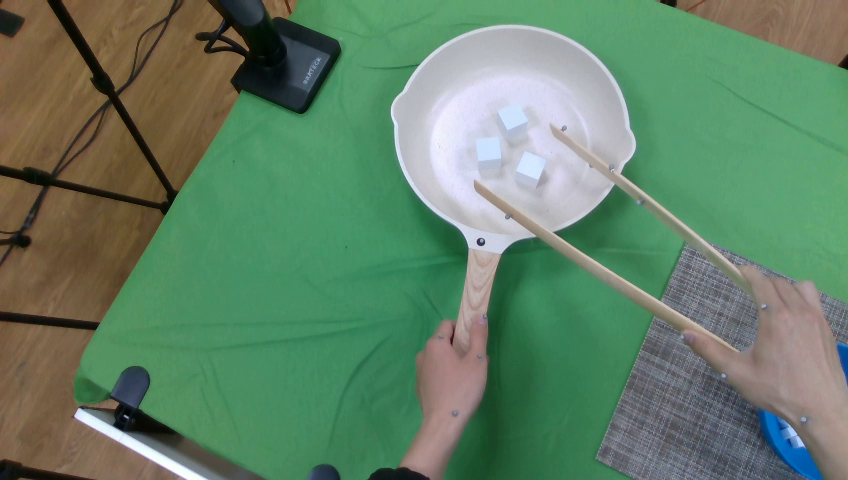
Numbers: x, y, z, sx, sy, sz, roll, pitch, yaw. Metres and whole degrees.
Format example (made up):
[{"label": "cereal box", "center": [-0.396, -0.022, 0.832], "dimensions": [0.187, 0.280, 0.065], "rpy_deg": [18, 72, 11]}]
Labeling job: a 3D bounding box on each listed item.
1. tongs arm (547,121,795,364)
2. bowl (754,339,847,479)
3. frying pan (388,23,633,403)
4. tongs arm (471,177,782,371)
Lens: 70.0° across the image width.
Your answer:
[{"label": "tongs arm", "center": [0.237, -0.021, 0.651], "dimensions": [0.051, 0.027, 0.380], "rpy_deg": [-34, 50, -7]}, {"label": "bowl", "center": [0.430, 0.187, 0.666], "dimensions": [0.151, 0.077, 0.150], "rpy_deg": [-1, 74, 3]}, {"label": "frying pan", "center": [0.082, -0.044, 0.742], "dimensions": [0.306, 0.103, 0.485], "rpy_deg": [12, 67, 8]}, {"label": "tongs arm", "center": [0.182, 0.020, 0.642], "dimensions": [0.028, 0.028, 0.383], "rpy_deg": [-39, 50, -16]}]
